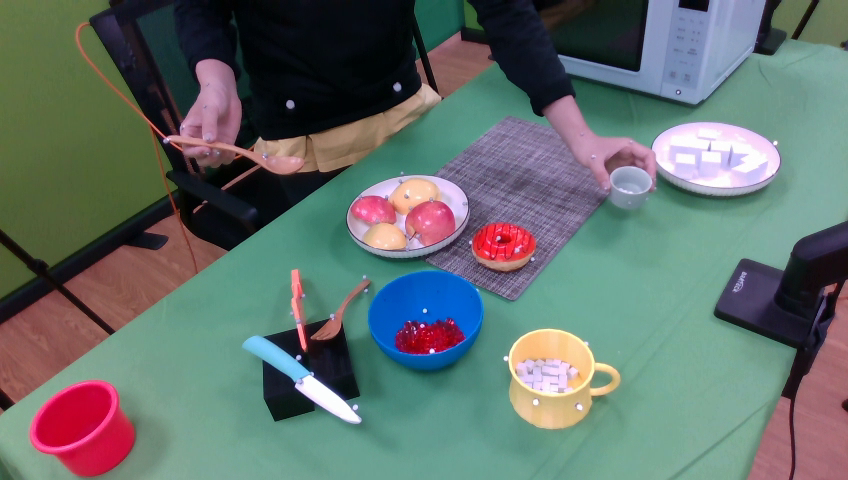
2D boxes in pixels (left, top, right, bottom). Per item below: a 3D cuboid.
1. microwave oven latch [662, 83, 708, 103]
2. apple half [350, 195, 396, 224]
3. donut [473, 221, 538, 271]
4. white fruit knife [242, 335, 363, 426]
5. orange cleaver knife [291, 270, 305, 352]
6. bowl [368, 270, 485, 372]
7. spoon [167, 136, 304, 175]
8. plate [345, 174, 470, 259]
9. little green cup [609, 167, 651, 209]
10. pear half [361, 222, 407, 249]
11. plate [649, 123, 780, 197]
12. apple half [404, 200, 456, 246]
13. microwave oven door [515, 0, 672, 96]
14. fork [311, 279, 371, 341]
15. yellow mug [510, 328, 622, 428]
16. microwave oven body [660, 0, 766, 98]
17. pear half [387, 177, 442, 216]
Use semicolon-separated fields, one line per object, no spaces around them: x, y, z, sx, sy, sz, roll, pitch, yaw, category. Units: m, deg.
0.518;-0.296;1.204;0.078;0.029;0.030;28;52;35;microwave oven latch
-0.081;-0.056;1.008;0.081;0.033;0.081;11;24;-4;apple half
0.124;0.008;0.923;0.099;0.048;0.098;-3;38;3;donut
-0.148;0.167;0.730;0.206;0.016;0.027;26;80;31;white fruit knife
-0.175;0.094;0.844;0.012;0.077;0.210;-11;14;-10;orange cleaver knife
0.007;0.118;0.791;0.151;0.077;0.150;-5;40;4;bowl
-0.263;-0.122;0.843;0.194;0.021;0.041;15;47;-2;spoon
-0.026;-0.037;1.004;0.209;0.038;0.208;-4;40;4;plate
0.314;-0.078;0.929;0.061;0.039;0.061;-1;48;1;little green cup
-0.063;-0.012;0.958;0.071;0.031;0.087;2;24;-25;pear half
0.497;-0.135;1.046;0.207;0.039;0.206;-4;40;4;plate
0.010;-0.035;0.969;0.075;0.053;0.080;-27;40;-22;apple half
0.344;-0.455;1.259;0.353;0.245;0.039;26;51;33;microwave oven door
-0.108;0.092;0.832;0.028;0.019;0.207;-6;19;15;fork
0.169;0.164;0.722;0.130;0.064;0.099;0;40;8;yellow mug
0.472;-0.513;1.317;0.438;0.261;0.327;26;51;34;microwave oven body
-0.029;-0.079;1.033;0.109;0.056;0.076;-4;35;17;pear half
